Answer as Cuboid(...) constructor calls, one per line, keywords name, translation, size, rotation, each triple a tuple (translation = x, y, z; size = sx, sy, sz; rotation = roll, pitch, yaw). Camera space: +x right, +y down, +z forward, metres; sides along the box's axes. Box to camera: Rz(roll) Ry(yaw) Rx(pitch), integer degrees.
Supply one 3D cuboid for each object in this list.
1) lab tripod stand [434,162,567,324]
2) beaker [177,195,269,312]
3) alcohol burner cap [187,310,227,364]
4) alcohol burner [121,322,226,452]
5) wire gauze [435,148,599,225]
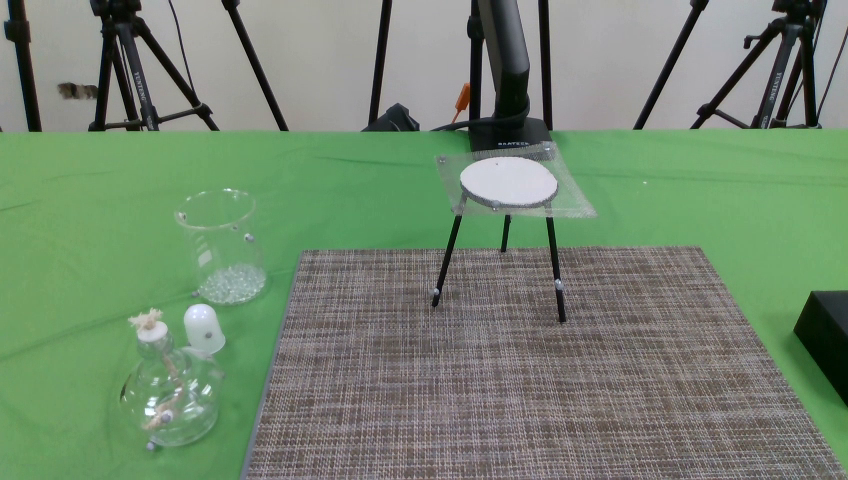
Cuboid(name="lab tripod stand", translation=(0.082, 0.003, 0.585), size=(0.148, 0.132, 0.147), rotation=(1, 35, -1))
Cuboid(name="beaker", translation=(-0.196, 0.014, 0.608), size=(0.074, 0.101, 0.083), rotation=(8, 35, 11))
Cuboid(name="alcohol burner cap", translation=(-0.201, 0.086, 0.555), size=(0.034, 0.048, 0.033), rotation=(1, 35, 0))
Cuboid(name="alcohol burner", translation=(-0.194, 0.106, 0.463), size=(0.078, 0.120, 0.077), rotation=(1, 37, -1))
Cuboid(name="wire gauze", translation=(0.078, -0.049, 0.542), size=(0.125, 0.011, 0.120), rotation=(-3, 36, -6))
